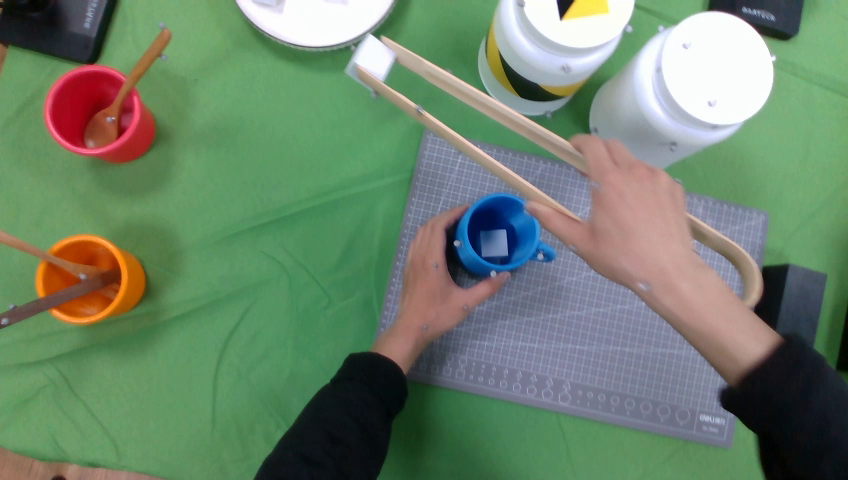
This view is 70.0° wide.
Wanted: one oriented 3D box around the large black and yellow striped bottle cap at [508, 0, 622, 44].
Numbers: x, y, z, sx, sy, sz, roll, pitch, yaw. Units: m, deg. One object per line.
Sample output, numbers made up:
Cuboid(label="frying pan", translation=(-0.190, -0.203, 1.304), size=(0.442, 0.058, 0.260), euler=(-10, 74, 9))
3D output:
Cuboid(label="large black and yellow striped bottle cap", translation=(0.136, -0.247, 0.583), size=(0.115, 0.019, 0.115), euler=(0, 86, -6))

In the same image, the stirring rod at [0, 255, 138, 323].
Cuboid(label="stirring rod", translation=(-0.374, 0.053, 0.617), size=(0.176, 0.006, 0.014), euler=(-32, 92, -49))

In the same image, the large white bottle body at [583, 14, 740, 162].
Cuboid(label="large white bottle body", translation=(0.268, -0.169, 0.673), size=(0.131, 0.184, 0.130), euler=(0, 85, -5))

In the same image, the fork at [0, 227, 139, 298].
Cuboid(label="fork", translation=(-0.388, 0.011, 0.613), size=(0.209, 0.018, 0.028), euler=(38, 78, -44))

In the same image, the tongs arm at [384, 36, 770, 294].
Cuboid(label="tongs arm", translation=(0.122, -0.073, 0.524), size=(0.386, 0.028, 0.028), euler=(34, 71, 9))

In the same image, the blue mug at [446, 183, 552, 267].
Cuboid(label="blue mug", translation=(0.087, -0.008, 0.680), size=(0.117, 0.106, 0.082), euler=(19, 83, -4))

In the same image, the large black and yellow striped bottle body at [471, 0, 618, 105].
Cuboid(label="large black and yellow striped bottle body", translation=(0.129, -0.238, 0.665), size=(0.131, 0.184, 0.130), euler=(1, 84, -5))

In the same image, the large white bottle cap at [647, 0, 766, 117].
Cuboid(label="large white bottle cap", translation=(0.275, -0.178, 0.589), size=(0.115, 0.018, 0.114), euler=(1, 85, -6))

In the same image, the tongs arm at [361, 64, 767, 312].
Cuboid(label="tongs arm", translation=(0.108, -0.054, 0.518), size=(0.383, 0.026, 0.050), euler=(38, 75, 10))

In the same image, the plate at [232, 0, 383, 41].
Cuboid(label="plate", translation=(-0.138, -0.334, 0.721), size=(0.208, 0.039, 0.207), euler=(1, 85, -5))

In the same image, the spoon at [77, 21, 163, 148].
Cuboid(label="spoon", translation=(-0.321, -0.160, 0.636), size=(0.194, 0.022, 0.041), euler=(-35, 84, 36))
